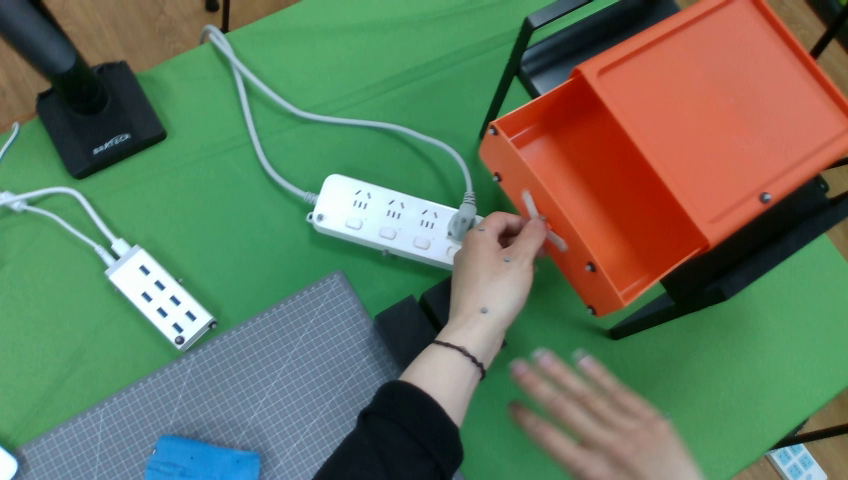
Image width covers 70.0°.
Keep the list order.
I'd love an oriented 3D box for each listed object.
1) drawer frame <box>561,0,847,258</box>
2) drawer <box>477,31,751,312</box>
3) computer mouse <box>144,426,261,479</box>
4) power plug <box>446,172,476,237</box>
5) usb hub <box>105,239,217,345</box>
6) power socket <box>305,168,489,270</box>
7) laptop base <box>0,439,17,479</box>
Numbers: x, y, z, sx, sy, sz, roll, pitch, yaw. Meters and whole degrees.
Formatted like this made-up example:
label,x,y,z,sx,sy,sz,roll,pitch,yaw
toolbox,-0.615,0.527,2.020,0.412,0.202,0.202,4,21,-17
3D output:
label,x,y,z,sx,sy,sz,roll,pitch,yaw
drawer frame,0.266,-0.120,0.583,0.213,0.083,0.201,-31,79,-14
drawer,0.188,-0.070,0.561,0.212,0.073,0.193,-32,80,-14
computer mouse,-0.233,0.236,0.634,0.117,0.041,0.062,11,74,0
power plug,0.052,-0.037,0.728,0.035,0.053,0.072,27,71,3
usb hub,-0.298,0.059,0.686,0.125,0.025,0.049,42,75,6
power socket,-0.029,-0.025,0.735,0.227,0.033,0.072,17,73,-1
laptop base,-0.610,0.293,0.588,0.235,0.023,0.353,36,74,2
